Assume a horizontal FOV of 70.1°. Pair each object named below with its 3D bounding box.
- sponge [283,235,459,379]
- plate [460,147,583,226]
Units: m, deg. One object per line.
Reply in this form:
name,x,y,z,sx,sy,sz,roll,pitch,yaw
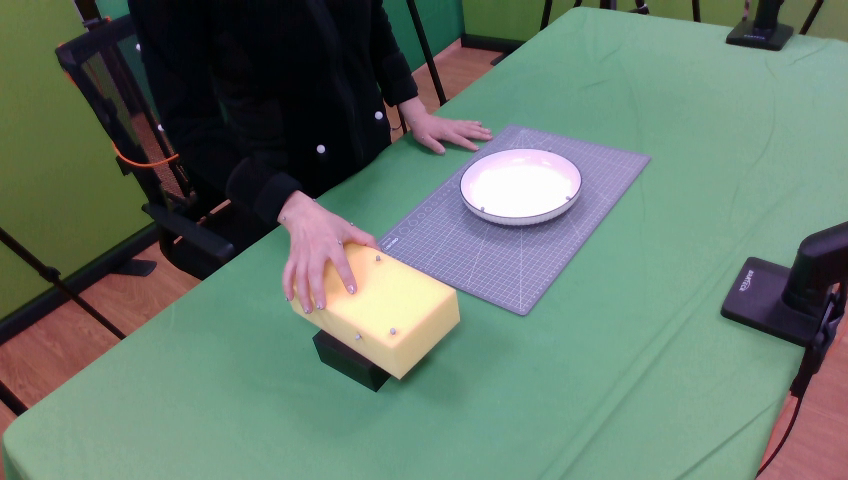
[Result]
sponge,-0.071,0.081,0.798,0.205,0.061,0.118,25,50,34
plate,0.166,-0.089,1.043,0.209,0.038,0.208,-5,40,5
